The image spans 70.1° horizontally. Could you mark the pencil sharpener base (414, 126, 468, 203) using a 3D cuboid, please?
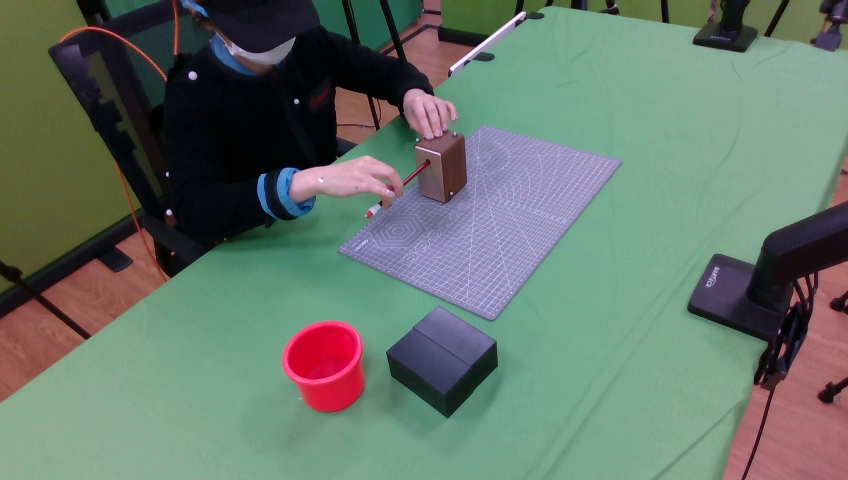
[{"bbox_3d":[0.032,-0.132,1.047,0.061,0.107,0.077,21,48,30],"label":"pencil sharpener base"}]

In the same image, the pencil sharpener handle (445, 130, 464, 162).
[{"bbox_3d":[0.059,-0.171,1.070,0.036,0.068,0.031,26,50,25],"label":"pencil sharpener handle"}]

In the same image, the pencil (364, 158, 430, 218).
[{"bbox_3d":[-0.032,-0.093,0.974,0.012,0.012,0.194,22,50,30],"label":"pencil"}]
